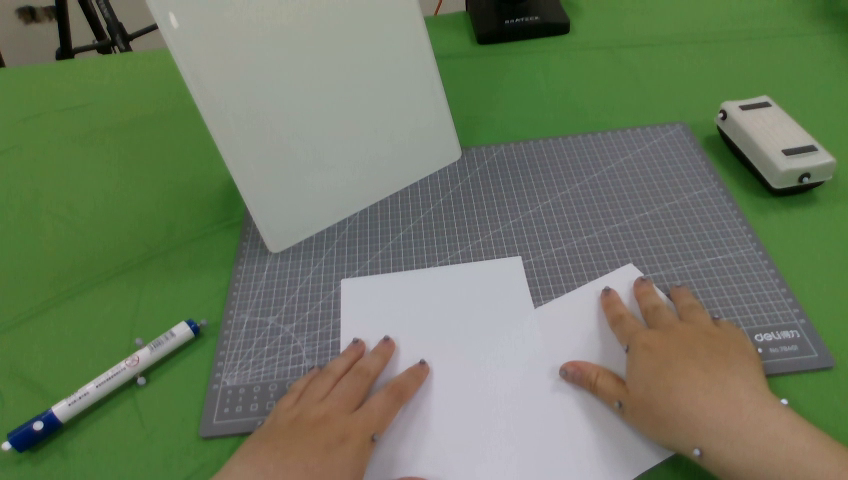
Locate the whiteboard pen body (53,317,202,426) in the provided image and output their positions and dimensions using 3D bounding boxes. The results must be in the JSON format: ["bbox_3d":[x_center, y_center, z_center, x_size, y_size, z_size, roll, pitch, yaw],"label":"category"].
[{"bbox_3d":[-0.232,0.104,0.458,0.141,0.017,0.017,-36,52,-27],"label":"whiteboard pen body"}]

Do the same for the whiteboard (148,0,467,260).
[{"bbox_3d":[-0.121,-0.179,0.562,0.217,0.308,0.142,-29,29,-19],"label":"whiteboard"}]

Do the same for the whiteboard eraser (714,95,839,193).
[{"bbox_3d":[0.323,-0.090,0.563,0.055,0.042,0.111,-12,46,-2],"label":"whiteboard eraser"}]

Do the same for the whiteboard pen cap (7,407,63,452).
[{"bbox_3d":[-0.275,0.133,0.431,0.033,0.018,0.018,-37,52,-27],"label":"whiteboard pen cap"}]
